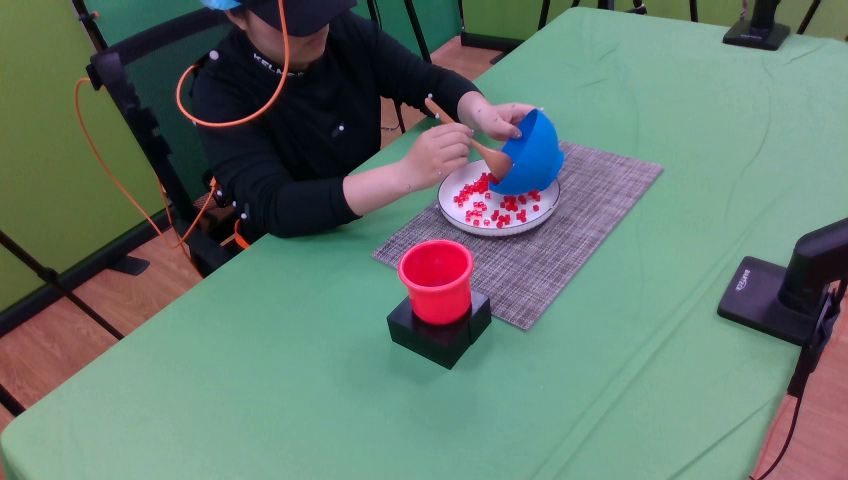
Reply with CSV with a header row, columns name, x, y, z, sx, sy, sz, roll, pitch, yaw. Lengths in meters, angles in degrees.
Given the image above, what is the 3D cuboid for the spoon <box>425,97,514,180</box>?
name,x,y,z,sx,sy,sz,roll,pitch,yaw
spoon,0.073,-0.158,0.948,0.041,0.195,0.021,-54,21,0

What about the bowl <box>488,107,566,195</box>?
name,x,y,z,sx,sy,sz,roll,pitch,yaw
bowl,0.175,-0.129,0.977,0.077,0.151,0.151,28,43,-9

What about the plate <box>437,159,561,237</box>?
name,x,y,z,sx,sy,sz,roll,pitch,yaw
plate,0.127,-0.069,1.023,0.207,0.039,0.206,-5,40,5
